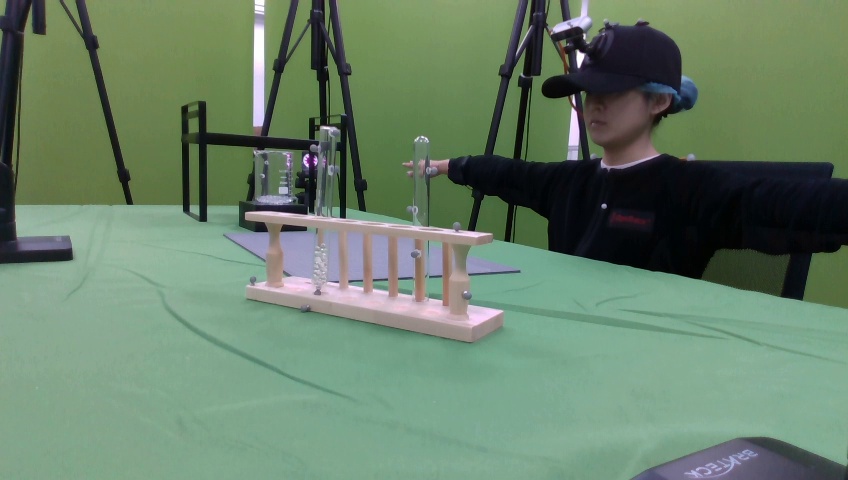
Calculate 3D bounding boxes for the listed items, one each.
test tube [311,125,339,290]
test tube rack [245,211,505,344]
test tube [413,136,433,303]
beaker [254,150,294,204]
[{"bbox_3d":[-0.090,-0.028,0.545,0.017,0.150,0.017,6,11,-1],"label":"test tube"},{"bbox_3d":[-0.049,0.024,0.547,0.241,0.085,0.067,7,8,29],"label":"test tube rack"},{"bbox_3d":[-0.002,-0.016,0.538,0.017,0.150,0.017,1,8,0],"label":"test tube"},{"bbox_3d":[-0.289,-0.120,1.151,0.073,0.100,0.084,8,9,33],"label":"beaker"}]
